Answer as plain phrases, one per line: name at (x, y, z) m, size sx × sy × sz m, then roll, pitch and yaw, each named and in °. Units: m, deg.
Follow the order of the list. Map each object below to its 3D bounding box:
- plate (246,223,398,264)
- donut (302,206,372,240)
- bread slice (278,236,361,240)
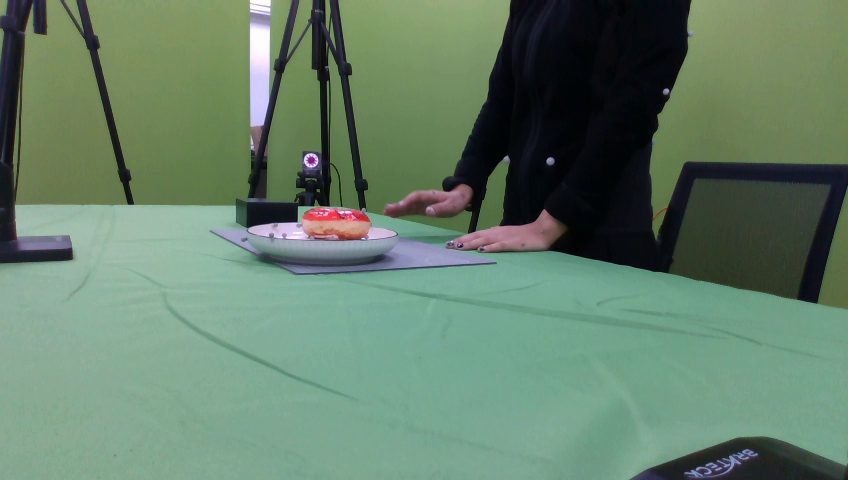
plate at (-0.140, 0.004, 0.847) m, size 0.209 × 0.038 × 0.209 m, roll 2°, pitch 7°, yaw 0°
donut at (-0.123, -0.023, 0.853) m, size 0.099 × 0.048 × 0.099 m, roll 3°, pitch 3°, yaw 0°
bread slice at (-0.140, 0.007, 0.839) m, size 0.132 × 0.019 × 0.104 m, roll -2°, pitch 8°, yaw -35°
